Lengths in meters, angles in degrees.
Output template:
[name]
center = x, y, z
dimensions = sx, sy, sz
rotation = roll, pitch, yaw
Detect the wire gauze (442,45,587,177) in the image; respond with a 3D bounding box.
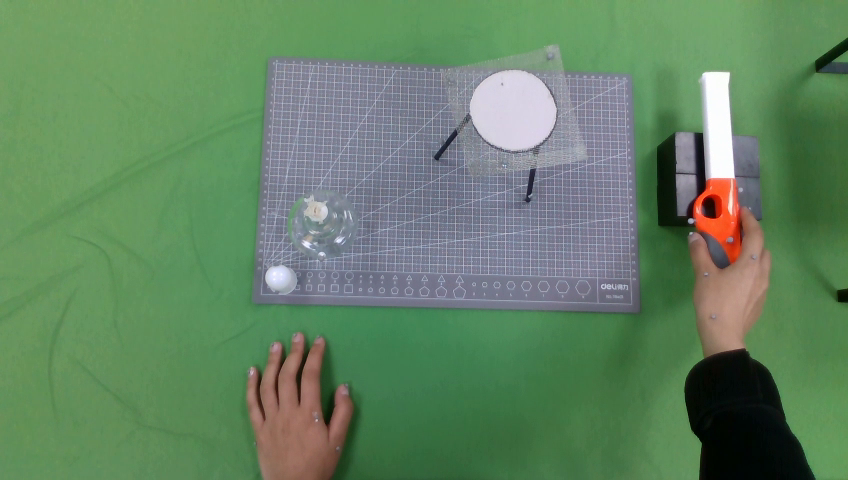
[wire gauze]
center = 0.090, -0.128, 0.603
dimensions = 0.125, 0.011, 0.121
rotation = -11, 81, -5

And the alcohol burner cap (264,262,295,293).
[alcohol burner cap]
center = -0.162, 0.040, 0.672
dimensions = 0.034, 0.048, 0.033
rotation = 1, 80, -4

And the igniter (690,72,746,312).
[igniter]
center = 0.330, -0.057, 0.684
dimensions = 0.057, 0.025, 0.275
rotation = 2, 81, 4

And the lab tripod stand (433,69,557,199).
[lab tripod stand]
center = 0.087, -0.123, 0.670
dimensions = 0.148, 0.132, 0.147
rotation = 1, 78, -2

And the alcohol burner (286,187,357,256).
[alcohol burner]
center = -0.112, -0.023, 0.650
dimensions = 0.078, 0.119, 0.077
rotation = 1, 81, -5
